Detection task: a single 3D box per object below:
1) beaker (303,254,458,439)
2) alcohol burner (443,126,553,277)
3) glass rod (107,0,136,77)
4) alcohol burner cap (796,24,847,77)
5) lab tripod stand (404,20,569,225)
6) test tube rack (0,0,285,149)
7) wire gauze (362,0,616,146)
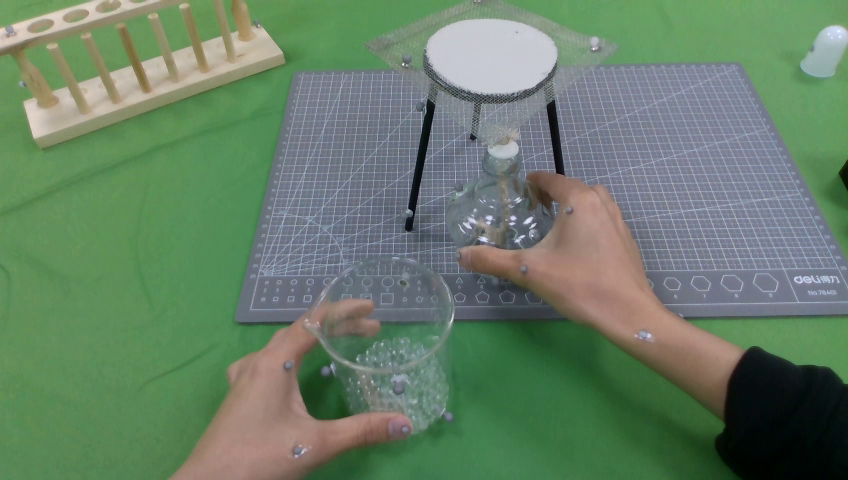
[{"bbox_3d":[-0.022,0.068,0.359,0.084,0.101,0.073,-5,50,-2],"label":"beaker"},{"bbox_3d":[0.051,-0.030,0.419,0.078,0.120,0.077,-2,47,3],"label":"alcohol burner"},{"bbox_3d":[-0.278,-0.223,0.527,0.008,0.201,0.008,2,51,-3],"label":"glass rod"},{"bbox_3d":[0.390,-0.187,0.589,0.034,0.048,0.033,-1,50,1],"label":"alcohol burner cap"},{"bbox_3d":[0.048,-0.082,0.452,0.148,0.132,0.147,0,50,0],"label":"lab tripod stand"},{"bbox_3d":[-0.266,-0.181,0.578,0.242,0.086,0.066,-26,54,-18],"label":"test tube rack"},{"bbox_3d":[0.042,-0.122,0.398,0.121,0.011,0.124,-35,58,-25],"label":"wire gauze"}]
